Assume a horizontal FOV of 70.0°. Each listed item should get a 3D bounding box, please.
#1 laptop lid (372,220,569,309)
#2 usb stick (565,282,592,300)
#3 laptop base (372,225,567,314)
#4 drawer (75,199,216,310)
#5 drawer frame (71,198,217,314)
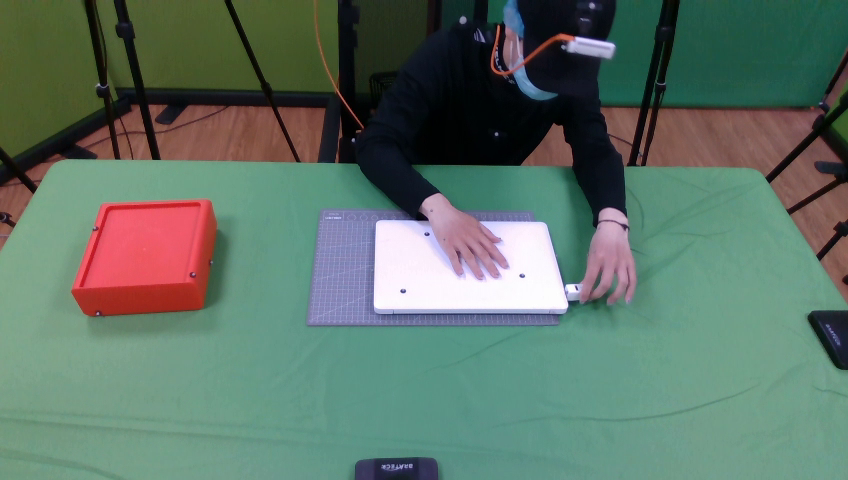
[{"bbox_3d":[0.081,0.040,1.152,0.357,0.013,0.240,2,44,-3],"label":"laptop lid"},{"bbox_3d":[0.275,0.094,1.112,0.059,0.027,0.021,-6,47,-2],"label":"usb stick"},{"bbox_3d":[0.080,0.050,1.159,0.355,0.023,0.234,0,43,-4],"label":"laptop base"},{"bbox_3d":[-0.494,0.022,1.097,0.195,0.073,0.210,-2,47,-8],"label":"drawer"},{"bbox_3d":[-0.493,0.023,1.096,0.202,0.083,0.212,-3,47,-8],"label":"drawer frame"}]
